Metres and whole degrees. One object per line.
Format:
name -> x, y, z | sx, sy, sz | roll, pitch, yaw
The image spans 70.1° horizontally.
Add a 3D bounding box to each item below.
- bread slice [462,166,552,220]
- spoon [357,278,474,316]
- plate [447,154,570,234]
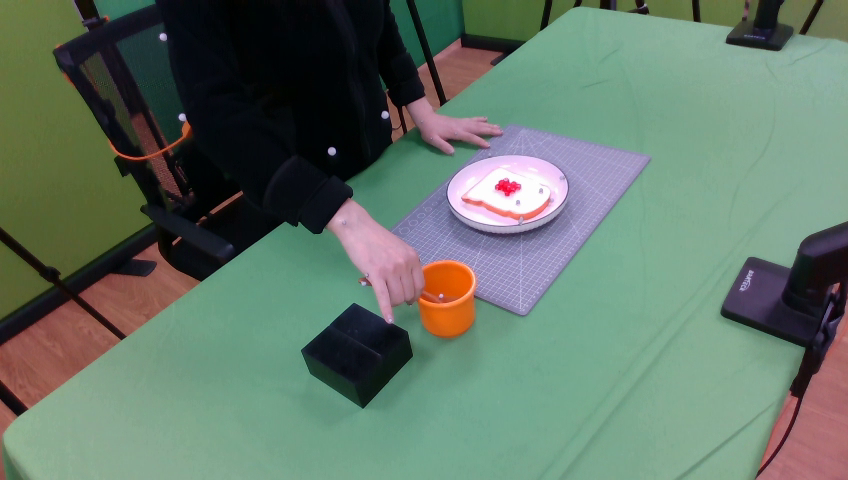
bread slice -> 0.150, -0.079, 1.036 | 0.133, 0.018, 0.107 | 22, 50, 31
spoon -> -0.008, 0.072, 0.805 | 0.021, 0.195, 0.041 | -55, 40, 17
plate -> 0.143, -0.076, 1.032 | 0.209, 0.038, 0.208 | -5, 40, 5
